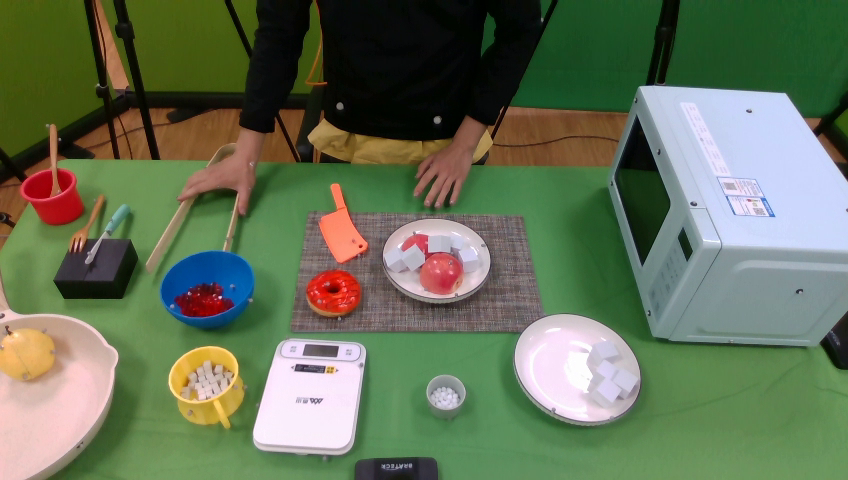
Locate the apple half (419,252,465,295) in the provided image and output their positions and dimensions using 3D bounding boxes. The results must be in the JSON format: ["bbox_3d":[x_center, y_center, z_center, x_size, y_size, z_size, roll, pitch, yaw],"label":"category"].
[{"bbox_3d":[0.035,0.056,1.109,0.074,0.053,0.081,37,55,25],"label":"apple half"}]

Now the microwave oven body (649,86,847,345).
[{"bbox_3d":[0.567,-0.053,1.118,0.326,0.261,0.439,2,45,-1],"label":"microwave oven body"}]

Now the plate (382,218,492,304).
[{"bbox_3d":[0.023,0.042,1.143,0.209,0.038,0.208,2,46,-2],"label":"plate"}]

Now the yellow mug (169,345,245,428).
[{"bbox_3d":[-0.322,0.230,0.922,0.100,0.064,0.130,-24,53,-25],"label":"yellow mug"}]

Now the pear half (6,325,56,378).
[{"bbox_3d":[-0.608,0.158,0.935,0.076,0.110,0.056,31,51,20],"label":"pear half"}]

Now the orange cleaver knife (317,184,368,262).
[{"bbox_3d":[-0.174,-0.037,1.218,0.077,0.012,0.210,-16,50,-12],"label":"orange cleaver knife"}]

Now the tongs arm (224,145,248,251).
[{"bbox_3d":[-0.397,-0.072,1.233,0.051,0.026,0.382,1,44,-3],"label":"tongs arm"}]

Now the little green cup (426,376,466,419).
[{"bbox_3d":[0.033,0.248,0.950,0.061,0.039,0.061,2,46,-2],"label":"little green cup"}]

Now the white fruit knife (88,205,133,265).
[{"bbox_3d":[-0.584,-0.013,1.129,0.016,0.027,0.206,0,32,-5],"label":"white fruit knife"}]

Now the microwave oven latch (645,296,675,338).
[{"bbox_3d":[0.412,0.134,1.061,0.030,0.029,0.078,3,45,0],"label":"microwave oven latch"}]

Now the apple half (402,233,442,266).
[{"bbox_3d":[-0.004,0.013,1.160,0.081,0.033,0.081,5,45,-5],"label":"apple half"}]

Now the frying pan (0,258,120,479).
[{"bbox_3d":[-0.647,0.164,0.936,0.307,0.103,0.485,-19,58,-22],"label":"frying pan"}]

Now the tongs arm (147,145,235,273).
[{"bbox_3d":[-0.466,-0.077,1.230,0.028,0.028,0.385,5,43,6],"label":"tongs arm"}]

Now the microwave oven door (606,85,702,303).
[{"bbox_3d":[0.422,-0.094,1.140,0.039,0.245,0.353,2,46,-1],"label":"microwave oven door"}]

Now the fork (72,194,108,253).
[{"bbox_3d":[-0.634,-0.036,1.158,0.028,0.019,0.206,-8,32,-8],"label":"fork"}]

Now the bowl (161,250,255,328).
[{"bbox_3d":[-0.362,0.098,1.040,0.151,0.077,0.150,2,45,-2],"label":"bowl"}]

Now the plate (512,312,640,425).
[{"bbox_3d":[0.246,0.213,0.999,0.208,0.039,0.206,2,46,-2],"label":"plate"}]

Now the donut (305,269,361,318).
[{"bbox_3d":[-0.160,0.094,1.075,0.099,0.048,0.098,4,45,-3],"label":"donut"}]

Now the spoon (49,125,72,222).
[{"bbox_3d":[-0.718,-0.131,1.189,0.041,0.021,0.193,-4,90,-6],"label":"spoon"}]

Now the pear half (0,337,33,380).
[{"bbox_3d":[-0.631,0.184,0.921,0.070,0.088,0.031,29,49,19],"label":"pear half"}]

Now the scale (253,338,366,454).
[{"bbox_3d":[-0.175,0.236,0.951,0.149,0.032,0.199,4,45,-1],"label":"scale"}]
